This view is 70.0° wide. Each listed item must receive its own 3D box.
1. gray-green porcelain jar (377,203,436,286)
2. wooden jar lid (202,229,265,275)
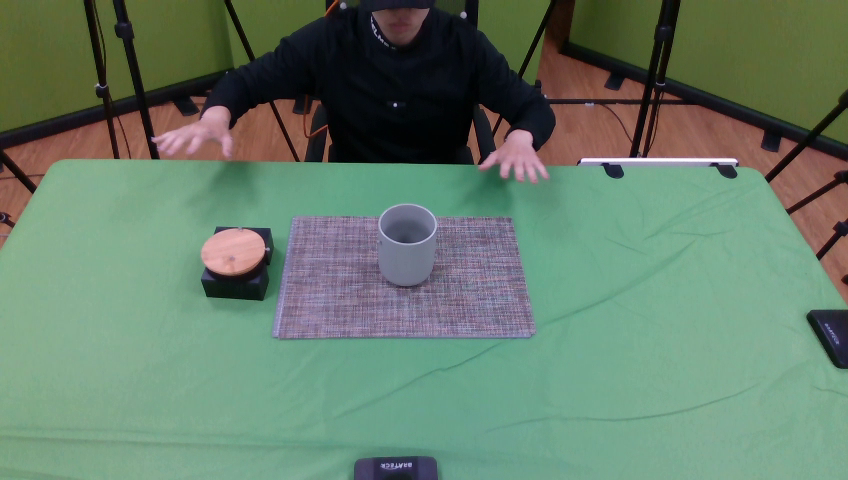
[{"bbox_3d":[-0.033,0.014,1.106,0.106,0.127,0.105,2,46,-2],"label":"gray-green porcelain jar"},{"bbox_3d":[-0.340,0.023,1.084,0.108,0.021,0.107,3,45,-2],"label":"wooden jar lid"}]
